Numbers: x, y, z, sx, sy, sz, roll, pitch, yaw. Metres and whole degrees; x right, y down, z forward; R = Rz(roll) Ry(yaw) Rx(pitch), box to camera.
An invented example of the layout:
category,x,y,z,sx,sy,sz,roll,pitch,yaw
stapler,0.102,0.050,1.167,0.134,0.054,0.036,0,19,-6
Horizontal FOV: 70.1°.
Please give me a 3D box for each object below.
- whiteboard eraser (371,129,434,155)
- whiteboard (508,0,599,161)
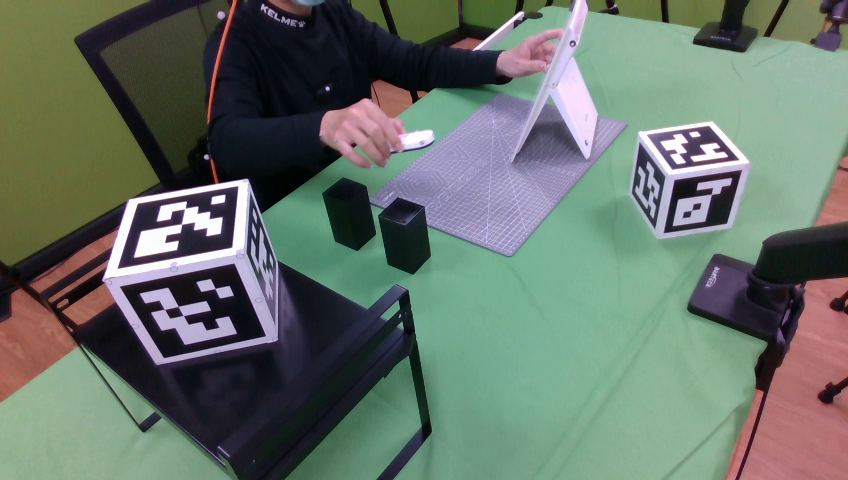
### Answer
category,x,y,z,sx,sy,sz,roll,pitch,yaw
whiteboard eraser,-0.033,-0.149,0.906,0.101,0.019,0.041,-4,32,26
whiteboard,0.285,-0.289,1.089,0.144,0.305,0.217,22,45,3
